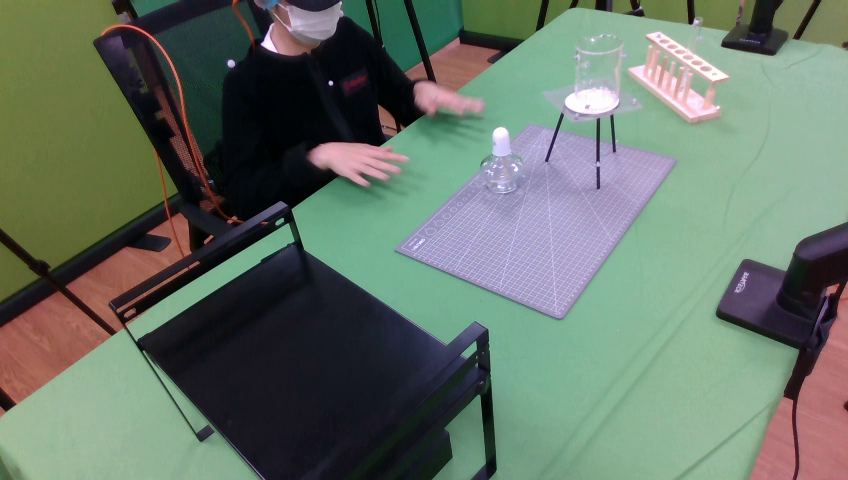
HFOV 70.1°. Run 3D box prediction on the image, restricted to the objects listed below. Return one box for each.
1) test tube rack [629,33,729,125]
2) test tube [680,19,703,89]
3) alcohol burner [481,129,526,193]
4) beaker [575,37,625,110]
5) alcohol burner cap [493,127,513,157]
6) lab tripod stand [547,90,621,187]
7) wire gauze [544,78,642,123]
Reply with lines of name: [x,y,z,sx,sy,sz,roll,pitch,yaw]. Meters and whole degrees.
test tube rack: [0.516,-0.337,1.247,0.067,0.085,0.240,-14,41,-7]
test tube: [0.531,-0.367,1.203,0.017,0.151,0.017,-4,46,4]
alcohol burner: [0.138,-0.142,1.052,0.078,0.119,0.077,-5,42,5]
beaker: [0.283,-0.271,0.988,0.074,0.101,0.083,-10,39,1]
alcohol burner cap: [0.132,-0.169,1.030,0.034,0.048,0.033,-7,36,5]
lab tripod stand: [0.289,-0.184,1.062,0.148,0.132,0.147,-6,41,6]
wire gauze: [0.282,-0.234,1.021,0.125,0.011,0.120,-17,38,-4]
